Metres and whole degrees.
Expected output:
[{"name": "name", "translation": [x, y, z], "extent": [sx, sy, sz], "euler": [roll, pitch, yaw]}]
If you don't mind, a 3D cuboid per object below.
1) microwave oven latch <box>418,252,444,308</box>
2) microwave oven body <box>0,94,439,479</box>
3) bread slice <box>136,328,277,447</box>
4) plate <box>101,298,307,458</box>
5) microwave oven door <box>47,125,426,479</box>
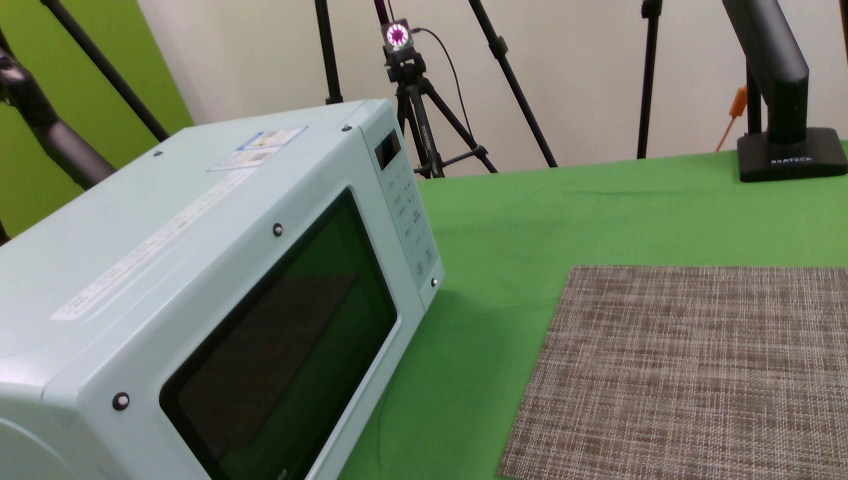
[{"name": "microwave oven latch", "translation": [0.000, 0.048, 0.730], "extent": [0.030, 0.030, 0.079], "euler": [-1, 34, 26]}, {"name": "microwave oven body", "translation": [-0.220, 0.073, 0.612], "extent": [0.324, 0.262, 0.439], "euler": [-2, 34, 25]}, {"name": "bread slice", "translation": [-0.214, 0.139, 0.612], "extent": [0.104, 0.019, 0.131], "euler": [5, 41, 33]}, {"name": "plate", "translation": [-0.212, 0.136, 0.608], "extent": [0.209, 0.038, 0.207], "euler": [-14, 29, 9]}, {"name": "microwave oven door", "translation": [-0.105, 0.085, 0.515], "extent": [0.039, 0.246, 0.354], "euler": [-3, 33, 26]}]
